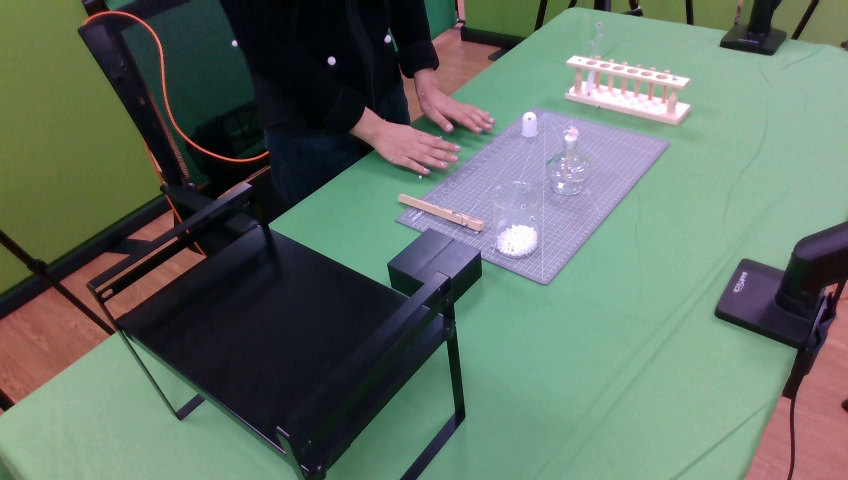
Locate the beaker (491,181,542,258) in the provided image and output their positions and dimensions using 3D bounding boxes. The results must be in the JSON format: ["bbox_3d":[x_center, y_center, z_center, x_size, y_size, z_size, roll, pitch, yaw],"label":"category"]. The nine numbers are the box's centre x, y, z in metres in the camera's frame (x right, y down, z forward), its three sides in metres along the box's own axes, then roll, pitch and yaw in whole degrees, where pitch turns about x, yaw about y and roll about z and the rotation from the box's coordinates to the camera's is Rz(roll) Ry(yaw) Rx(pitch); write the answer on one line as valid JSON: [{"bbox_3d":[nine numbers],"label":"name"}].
[{"bbox_3d":[0.144,-0.030,0.925,0.073,0.100,0.084,23,48,31],"label":"beaker"}]

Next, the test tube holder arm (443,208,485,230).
[{"bbox_3d":[0.063,-0.035,1.007,0.087,0.015,0.010,21,16,32],"label":"test tube holder arm"}]

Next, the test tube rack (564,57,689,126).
[{"bbox_3d":[0.411,-0.311,1.230,0.240,0.085,0.067,23,49,32],"label":"test tube rack"}]

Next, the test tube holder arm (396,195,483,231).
[{"bbox_3d":[0.024,-0.048,1.026,0.177,0.015,0.013,21,16,31],"label":"test tube holder arm"}]

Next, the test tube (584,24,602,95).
[{"bbox_3d":[0.342,-0.362,1.226,0.017,0.151,0.017,-2,44,2],"label":"test tube"}]

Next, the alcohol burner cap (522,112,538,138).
[{"bbox_3d":[0.210,-0.230,1.195,0.034,0.048,0.033,-5,41,5],"label":"alcohol burner cap"}]

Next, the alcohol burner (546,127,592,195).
[{"bbox_3d":[0.246,-0.137,1.023,0.078,0.119,0.077,-4,38,4],"label":"alcohol burner"}]
